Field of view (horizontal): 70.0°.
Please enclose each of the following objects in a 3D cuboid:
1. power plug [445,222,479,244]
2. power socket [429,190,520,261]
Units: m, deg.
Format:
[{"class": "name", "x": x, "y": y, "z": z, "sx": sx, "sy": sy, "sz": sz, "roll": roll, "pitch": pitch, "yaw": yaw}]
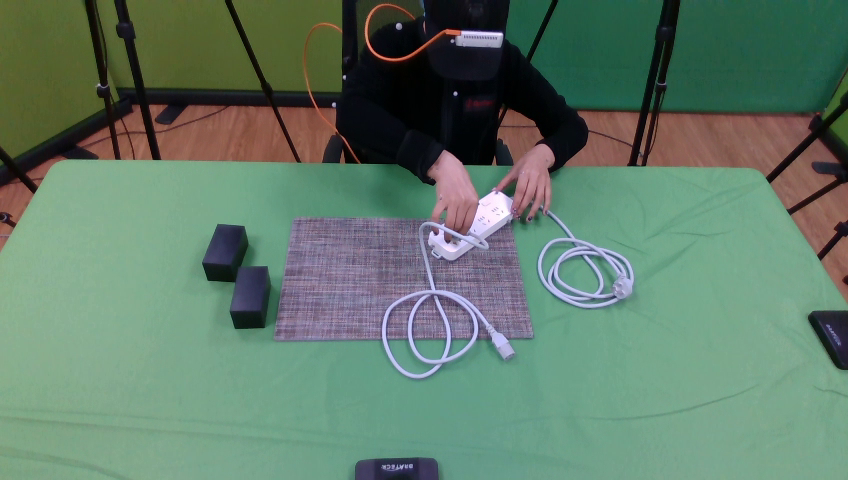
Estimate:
[{"class": "power plug", "x": 0.069, "y": -0.004, "z": 1.149, "sx": 0.035, "sy": 0.053, "sz": 0.072, "roll": -25, "pitch": 47, "yaw": -22}, {"class": "power socket", "x": 0.104, "y": -0.032, "z": 1.222, "sx": 0.226, "sy": 0.033, "sz": 0.072, "roll": -33, "pitch": 57, "yaw": -30}]
